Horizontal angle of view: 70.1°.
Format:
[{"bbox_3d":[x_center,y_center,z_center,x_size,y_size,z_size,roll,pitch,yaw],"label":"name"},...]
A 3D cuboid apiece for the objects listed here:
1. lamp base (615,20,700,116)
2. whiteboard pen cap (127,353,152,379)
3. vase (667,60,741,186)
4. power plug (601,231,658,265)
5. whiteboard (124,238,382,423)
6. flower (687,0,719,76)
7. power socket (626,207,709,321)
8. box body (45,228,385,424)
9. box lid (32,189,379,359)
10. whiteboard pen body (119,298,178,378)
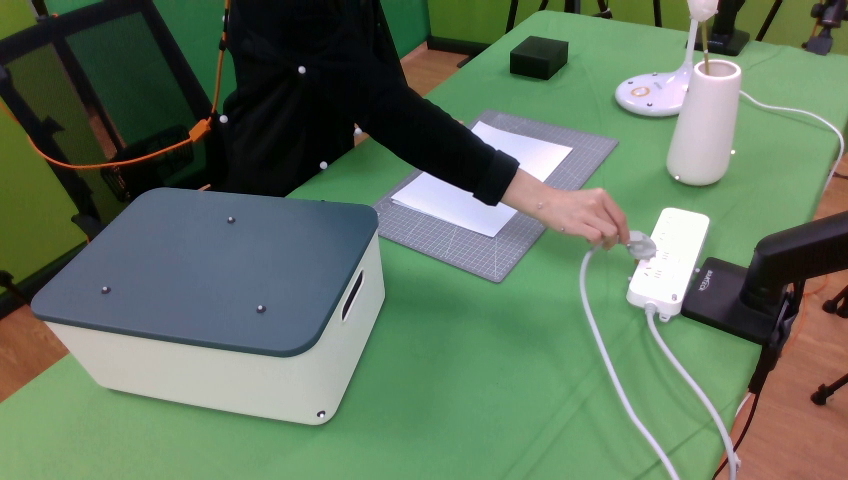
[{"bbox_3d":[0.484,-0.364,1.211,0.180,0.181,0.159,-15,41,-14],"label":"lamp base"},{"bbox_3d":[-0.385,0.170,0.820,0.018,0.018,0.033,7,42,16],"label":"whiteboard pen cap"},{"bbox_3d":[0.463,-0.189,0.994,0.098,0.201,0.097,-4,40,3],"label":"vase"},{"bbox_3d":[0.282,0.009,0.826,0.072,0.053,0.035,8,44,24],"label":"power plug"},{"bbox_3d":[-0.242,0.094,0.809,0.304,0.144,0.216,5,45,13],"label":"whiteboard"},{"bbox_3d":[0.436,-0.242,0.934,0.038,0.364,0.043,-24,49,9],"label":"flower"},{"bbox_3d":[0.360,0.025,0.886,0.072,0.033,0.227,17,46,26],"label":"power socket"},{"bbox_3d":[-0.254,0.082,0.807,0.363,0.161,0.253,5,42,14],"label":"box body"},{"bbox_3d":[-0.260,0.025,0.758,0.370,0.015,0.263,5,41,14],"label":"box lid"},{"bbox_3d":[-0.396,0.139,0.869,0.017,0.017,0.140,6,46,15],"label":"whiteboard pen body"}]
